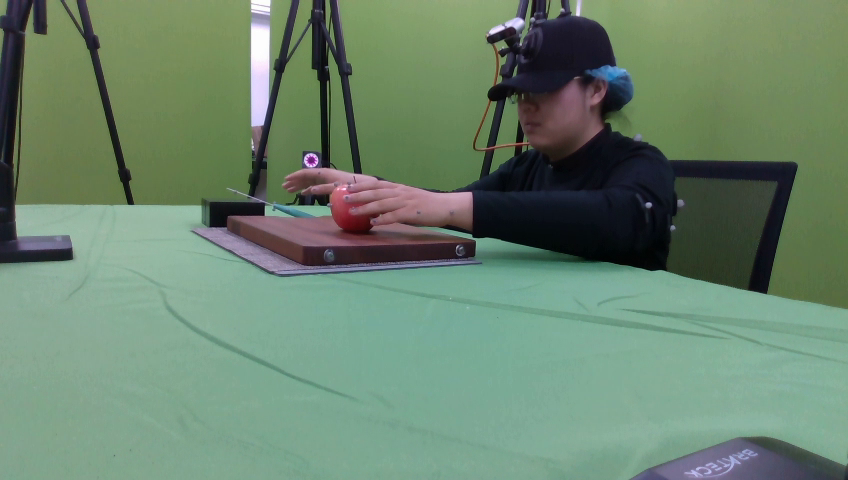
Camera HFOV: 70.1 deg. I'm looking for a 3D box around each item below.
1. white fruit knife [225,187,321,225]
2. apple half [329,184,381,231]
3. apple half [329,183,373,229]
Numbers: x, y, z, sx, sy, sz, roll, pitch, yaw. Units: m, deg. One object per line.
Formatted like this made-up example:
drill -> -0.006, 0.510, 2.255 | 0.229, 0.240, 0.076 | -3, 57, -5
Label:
white fruit knife -> -0.298, -0.068, 1.213 | 0.208, 0.016, 0.027 | 20, -3, -31
apple half -> -0.101, -0.049, 0.939 | 0.081, 0.074, 0.053 | 2, 11, -36
apple half -> -0.123, -0.056, 0.970 | 0.082, 0.081, 0.032 | -3, 13, -36
